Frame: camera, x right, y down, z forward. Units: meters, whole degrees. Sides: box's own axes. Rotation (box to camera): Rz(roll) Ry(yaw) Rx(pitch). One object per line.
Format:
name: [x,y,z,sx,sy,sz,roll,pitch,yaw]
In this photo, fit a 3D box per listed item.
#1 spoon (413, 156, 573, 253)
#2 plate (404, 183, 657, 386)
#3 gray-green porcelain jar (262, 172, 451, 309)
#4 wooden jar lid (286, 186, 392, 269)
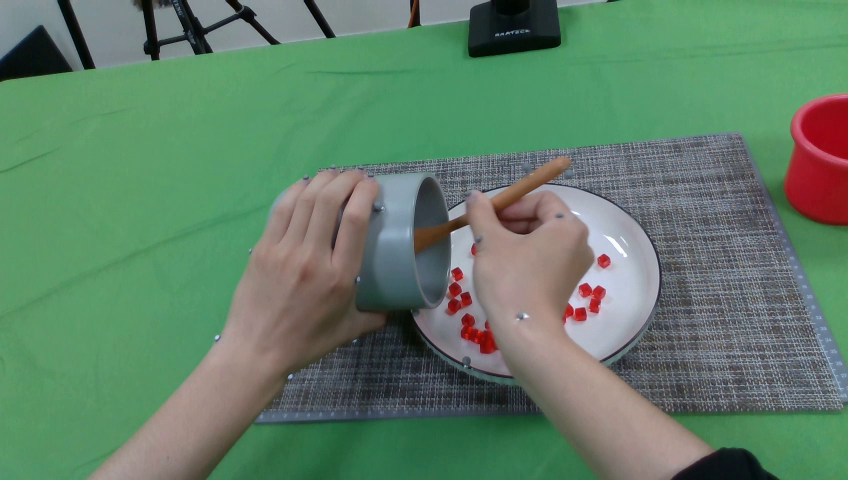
spoon: [0.027,-0.016,0.456,0.193,0.022,0.041,-25,47,29]
plate: [0.085,0.035,0.510,0.207,0.039,0.205,-7,47,8]
gray-green porcelain jar: [-0.053,0.002,0.477,0.126,0.107,0.105,-1,48,17]
wooden jar lid: [-0.084,-0.011,0.606,0.108,0.021,0.107,-6,46,7]
